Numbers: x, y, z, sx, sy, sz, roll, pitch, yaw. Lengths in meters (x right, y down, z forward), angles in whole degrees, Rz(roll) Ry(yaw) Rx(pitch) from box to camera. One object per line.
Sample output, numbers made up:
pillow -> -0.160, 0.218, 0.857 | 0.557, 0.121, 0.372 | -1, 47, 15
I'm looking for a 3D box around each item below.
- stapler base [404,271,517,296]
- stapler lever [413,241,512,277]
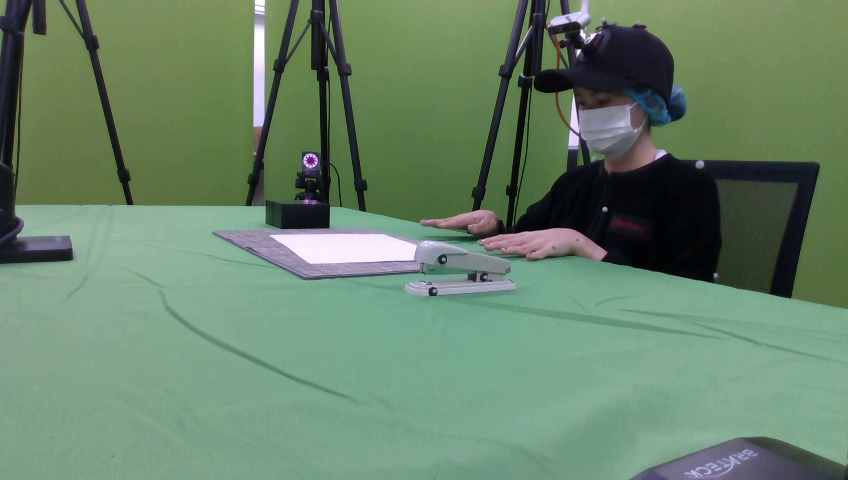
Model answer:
stapler base -> 0.041, 0.045, 0.669 | 0.131, 0.024, 0.041 | 1, 9, -29
stapler lever -> 0.044, 0.021, 0.667 | 0.119, 0.040, 0.026 | 0, 9, -29
